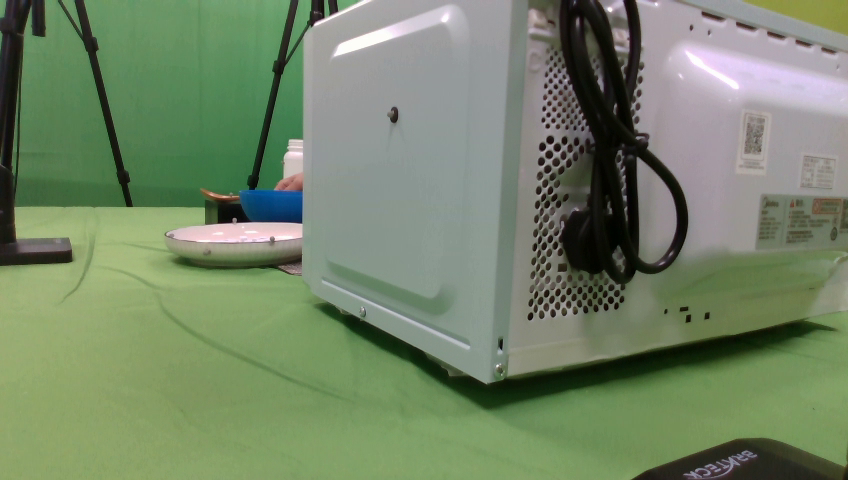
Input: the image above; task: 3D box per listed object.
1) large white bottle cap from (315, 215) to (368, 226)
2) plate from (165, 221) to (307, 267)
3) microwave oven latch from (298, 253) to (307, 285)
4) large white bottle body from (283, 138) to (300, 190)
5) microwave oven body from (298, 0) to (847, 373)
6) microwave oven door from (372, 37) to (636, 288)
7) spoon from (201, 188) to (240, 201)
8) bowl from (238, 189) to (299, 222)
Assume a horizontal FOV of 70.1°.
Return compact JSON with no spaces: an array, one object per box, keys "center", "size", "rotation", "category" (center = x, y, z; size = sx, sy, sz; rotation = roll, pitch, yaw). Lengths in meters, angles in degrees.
[{"center":[-0.177,-0.041,1.309],"size":[0.115,0.018,0.115],"rotation":[2,6,0],"category":"large white bottle cap"},{"center":[-0.241,0.004,0.829],"size":[0.209,0.038,0.209],"rotation":[0,9,0],"category":"plate"},{"center":[-0.081,0.027,0.582],"size":[0.079,0.029,0.030],"rotation":[-1,7,-32],"category":"microwave oven latch"},{"center":[-0.265,-0.144,1.423],"size":[0.131,0.184,0.130],"rotation":[2,7,0],"category":"large white bottle body"},{"center":[0.151,-0.055,0.542],"size":[0.444,0.260,0.324],"rotation":[-2,7,-33],"category":"microwave oven body"},{"center":[0.109,-0.080,0.686],"size":[0.358,0.243,0.039],"rotation":[-2,9,-33],"category":"microwave oven door"},{"center":[-0.336,-0.080,1.189],"size":[0.194,0.021,0.041],"rotation":[5,8,-17],"category":"spoon"},{"center":[-0.245,-0.045,1.053],"size":[0.151,0.077,0.151],"rotation":[3,7,0],"category":"bowl"}]
